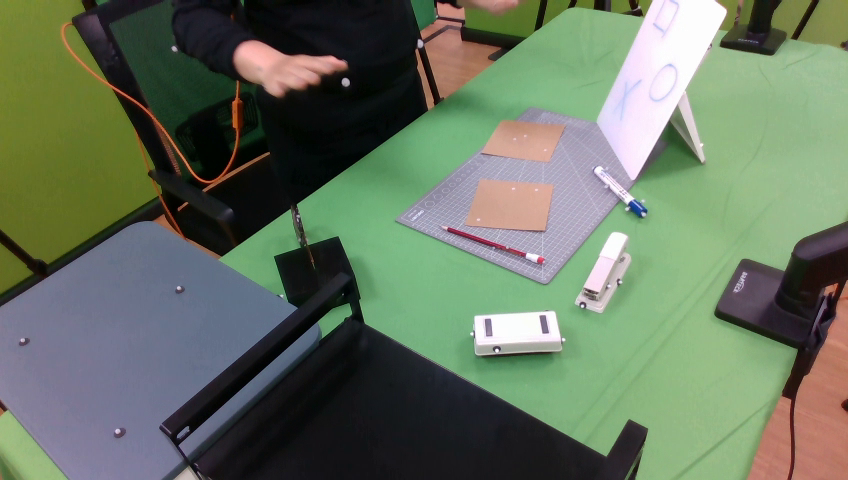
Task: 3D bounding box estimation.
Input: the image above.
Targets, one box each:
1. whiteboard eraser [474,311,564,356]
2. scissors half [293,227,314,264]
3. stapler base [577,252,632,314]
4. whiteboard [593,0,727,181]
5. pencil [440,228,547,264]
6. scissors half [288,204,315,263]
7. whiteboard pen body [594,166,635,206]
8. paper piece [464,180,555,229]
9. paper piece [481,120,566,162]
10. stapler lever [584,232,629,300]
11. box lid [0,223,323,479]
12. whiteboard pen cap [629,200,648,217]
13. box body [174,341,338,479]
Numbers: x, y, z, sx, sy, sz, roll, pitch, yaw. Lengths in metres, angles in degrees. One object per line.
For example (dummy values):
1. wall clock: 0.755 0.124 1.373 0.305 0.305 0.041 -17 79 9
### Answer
1. whiteboard eraser: 0.123 0.125 0.794 0.113 0.042 0.055 -5 38 3
2. scissors half: -0.188 0.007 0.954 0.013 0.040 0.174 -21 22 -13
3. stapler base: 0.264 0.051 0.875 0.041 0.024 0.131 16 47 30
4. whiteboard: 0.452 -0.272 1.056 0.144 0.305 0.216 9 38 -12
5. pencil: 0.105 0.006 0.958 0.192 0.012 0.012 18 46 30
6. scissors half: -0.191 -0.010 0.944 0.013 0.040 0.173 -16 38 -16
7. whiteboard pen body: 0.330 -0.085 1.027 0.017 0.017 0.139 -17 42 -10
8. paper piece: 0.149 -0.062 1.035 0.137 0.009 0.136 5 37 17
9. paper piece: 0.197 -0.199 1.188 0.135 0.004 0.135 11 44 22
10. stapler lever: 0.260 0.034 0.858 0.026 0.040 0.118 16 46 30
11. box lid: -0.318 0.109 0.671 0.368 0.015 0.264 24 50 31
12. whiteboard pen cap: 0.348 -0.052 0.984 0.018 0.018 0.033 -18 41 -12
13. box body: -0.311 0.165 0.720 0.361 0.161 0.255 23 49 32
